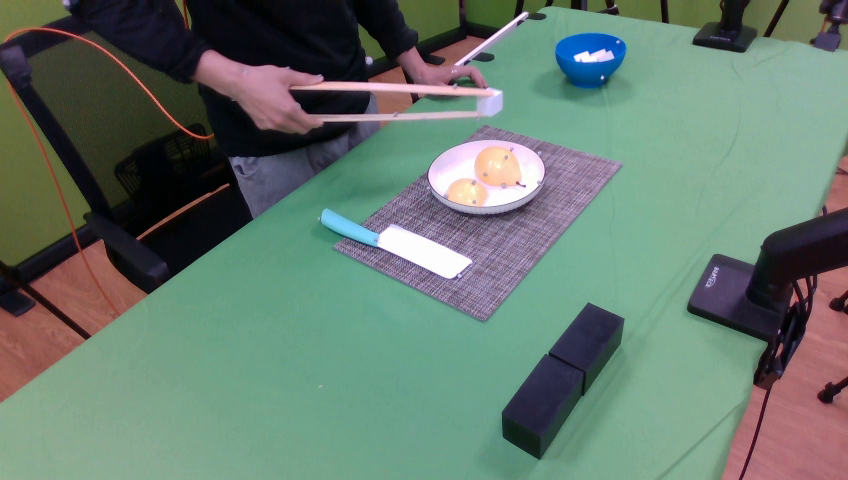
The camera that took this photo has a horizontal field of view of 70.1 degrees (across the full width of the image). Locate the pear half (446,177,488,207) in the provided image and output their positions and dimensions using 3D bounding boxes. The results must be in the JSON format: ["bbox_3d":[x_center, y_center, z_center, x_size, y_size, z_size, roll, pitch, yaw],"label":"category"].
[{"bbox_3d":[0.073,-0.086,1.032,0.070,0.031,0.087,-20,37,-9],"label":"pear half"}]

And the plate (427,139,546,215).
[{"bbox_3d":[0.109,-0.106,1.058,0.207,0.039,0.206,-4,41,4],"label":"plate"}]

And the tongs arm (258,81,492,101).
[{"bbox_3d":[-0.076,-0.246,1.003,0.389,0.028,0.027,-2,39,-11],"label":"tongs arm"}]

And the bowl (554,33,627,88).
[{"bbox_3d":[0.359,-0.384,1.318,0.151,0.077,0.150,-4,41,4],"label":"bowl"}]

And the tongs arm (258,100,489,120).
[{"bbox_3d":[-0.078,-0.225,1.017,0.386,0.051,0.026,-5,36,-9],"label":"tongs arm"}]

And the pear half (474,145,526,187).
[{"bbox_3d":[0.140,-0.129,1.059,0.076,0.056,0.109,-37,52,-24],"label":"pear half"}]

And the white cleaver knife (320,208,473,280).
[{"bbox_3d":[-0.053,0.001,0.978,0.284,0.021,0.066,23,40,26],"label":"white cleaver knife"}]
